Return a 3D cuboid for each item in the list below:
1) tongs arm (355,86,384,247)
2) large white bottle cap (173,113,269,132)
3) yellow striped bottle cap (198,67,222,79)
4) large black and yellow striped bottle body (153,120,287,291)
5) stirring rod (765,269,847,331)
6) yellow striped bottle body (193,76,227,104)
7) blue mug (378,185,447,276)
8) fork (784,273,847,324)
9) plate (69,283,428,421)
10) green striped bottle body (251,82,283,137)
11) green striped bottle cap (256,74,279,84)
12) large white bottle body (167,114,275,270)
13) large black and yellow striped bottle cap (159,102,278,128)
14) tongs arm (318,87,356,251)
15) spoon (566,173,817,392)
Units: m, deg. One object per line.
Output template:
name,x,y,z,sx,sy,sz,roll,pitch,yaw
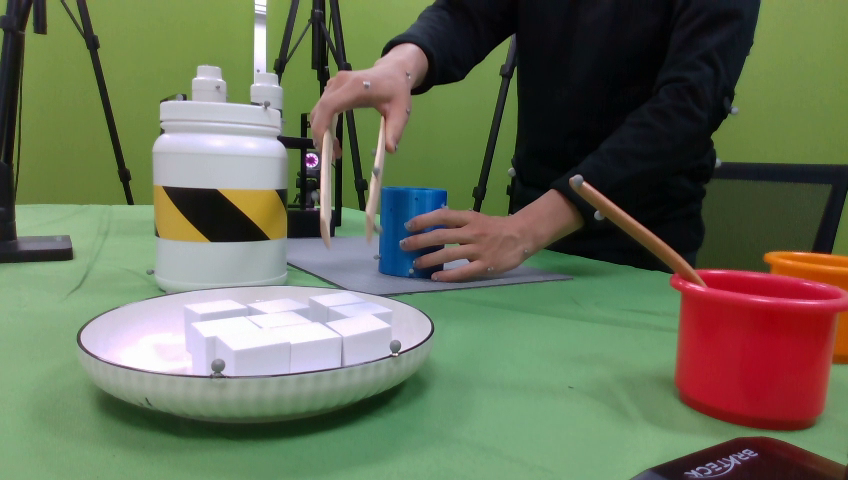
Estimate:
tongs arm,-0.062,-0.094,0.598,0.051,0.026,0.384,-5,28,3
large white bottle cap,-0.254,-0.147,0.760,0.115,0.018,0.115,1,7,0
yellow striped bottle cap,-0.411,-0.320,1.163,0.044,0.018,0.044,1,6,0
large black and yellow striped bottle body,-0.208,-0.043,0.626,0.131,0.184,0.130,2,7,0
stirring rod,0.352,0.020,0.484,0.176,0.006,0.014,-40,-6,13
yellow striped bottle body,-0.414,-0.268,1.169,0.063,0.120,0.063,2,7,0
blue mug,-0.022,-0.016,0.763,0.083,0.106,0.116,-2,8,-27
fork,0.332,0.018,0.444,0.028,0.018,0.207,-2,-35,-15
plate,-0.102,0.066,0.381,0.208,0.039,0.207,2,7,0
green striped bottle body,-0.317,-0.270,1.220,0.063,0.119,0.063,2,7,0
green striped bottle cap,-0.314,-0.321,1.214,0.044,0.020,0.044,3,9,0
large white bottle body,-0.257,-0.063,0.771,0.131,0.184,0.130,2,7,0
large black and yellow striped bottle cap,-0.207,-0.125,0.615,0.115,0.019,0.115,2,6,0
tongs arm,-0.084,-0.091,0.597,0.028,0.028,0.386,-10,28,0
spoon,0.161,0.024,0.370,0.193,0.021,0.042,47,18,3
